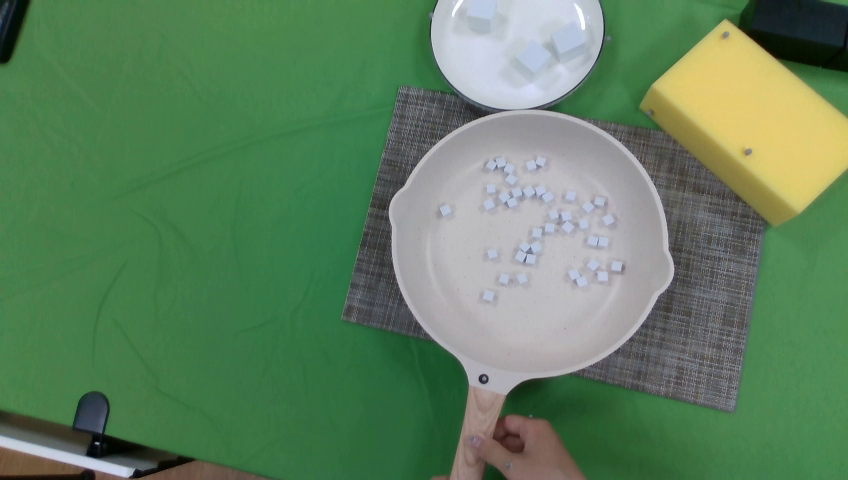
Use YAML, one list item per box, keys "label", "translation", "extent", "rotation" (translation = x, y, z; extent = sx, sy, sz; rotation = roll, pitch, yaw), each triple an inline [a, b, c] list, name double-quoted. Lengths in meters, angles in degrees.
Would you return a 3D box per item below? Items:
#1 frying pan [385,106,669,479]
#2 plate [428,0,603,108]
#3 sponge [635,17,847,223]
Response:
- label: "frying pan"
  translation: [0.078, 0.095, 0.644]
  extent: [0.306, 0.103, 0.485]
  rotation: [15, 74, 9]
- label: "plate"
  translation: [0.109, -0.255, 0.737]
  extent: [0.207, 0.039, 0.207]
  rotation: [-1, 81, 6]
- label: "sponge"
  translation: [0.360, -0.134, 0.679]
  extent: [0.118, 0.061, 0.206]
  rotation: [-43, 78, -4]
